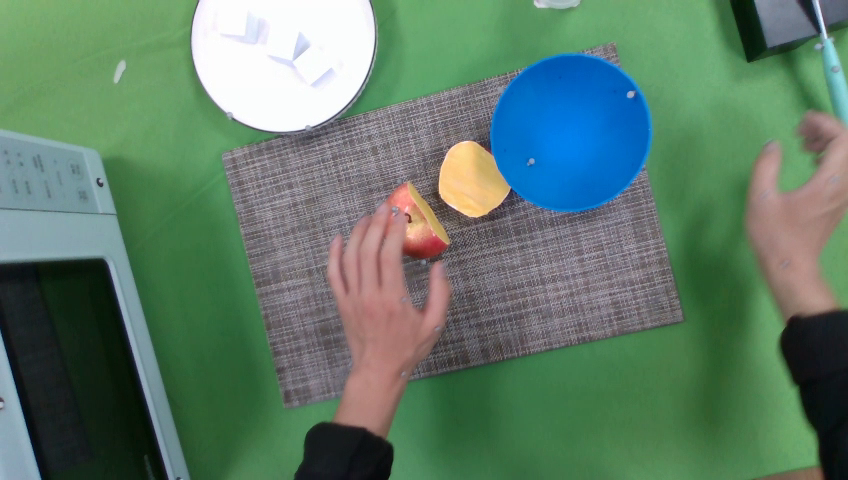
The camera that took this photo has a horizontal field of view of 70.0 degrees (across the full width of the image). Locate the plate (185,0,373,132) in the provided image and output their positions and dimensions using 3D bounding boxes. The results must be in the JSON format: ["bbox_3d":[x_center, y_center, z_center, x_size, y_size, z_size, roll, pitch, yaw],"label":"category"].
[{"bbox_3d":[-0.156,-0.220,0.666,0.207,0.039,0.207,0,92,7],"label":"plate"}]

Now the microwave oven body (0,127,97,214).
[{"bbox_3d":[-0.484,0.144,0.603,0.326,0.260,0.441,-16,90,7],"label":"microwave oven body"}]

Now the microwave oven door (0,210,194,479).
[{"bbox_3d":[-0.334,0.145,0.579,0.039,0.244,0.355,-16,89,8],"label":"microwave oven door"}]

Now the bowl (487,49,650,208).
[{"bbox_3d":[0.140,-0.106,0.608,0.151,0.077,0.151,0,92,8],"label":"bowl"}]

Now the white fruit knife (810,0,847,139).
[{"bbox_3d":[0.379,-0.189,0.575,0.016,0.027,0.208,-19,106,25],"label":"white fruit knife"}]

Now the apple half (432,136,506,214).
[{"bbox_3d":[0.045,-0.069,0.642,0.081,0.032,0.081,0,105,-1],"label":"apple half"}]

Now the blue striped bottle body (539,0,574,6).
[{"bbox_3d":[0.134,-0.279,0.585,0.063,0.121,0.063,0,91,7],"label":"blue striped bottle body"}]

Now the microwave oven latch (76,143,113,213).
[{"bbox_3d":[-0.378,-0.068,0.680,0.030,0.029,0.079,-16,90,7],"label":"microwave oven latch"}]

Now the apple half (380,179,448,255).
[{"bbox_3d":[-0.016,-0.017,0.633,0.053,0.074,0.081,-34,90,11],"label":"apple half"}]
